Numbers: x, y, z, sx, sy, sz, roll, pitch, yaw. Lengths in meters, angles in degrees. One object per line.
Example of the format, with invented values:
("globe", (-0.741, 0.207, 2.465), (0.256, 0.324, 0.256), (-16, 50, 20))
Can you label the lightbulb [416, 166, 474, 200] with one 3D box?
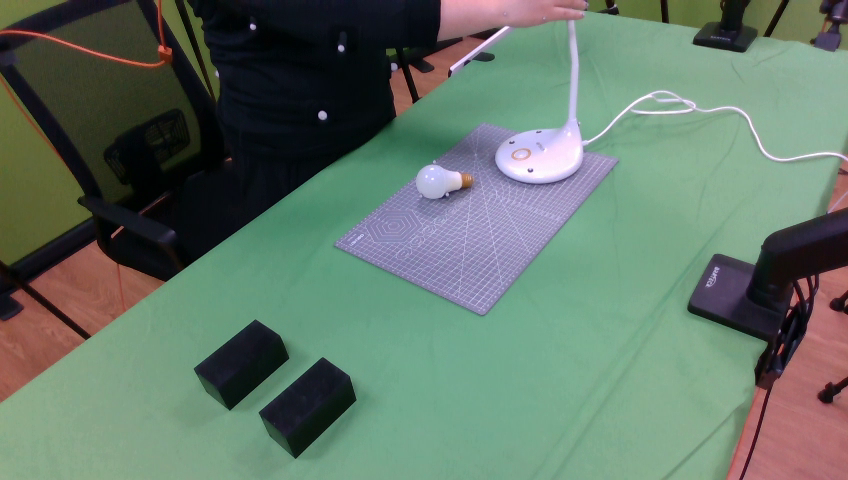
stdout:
("lightbulb", (0.038, -0.101, 1.059), (0.108, 0.059, 0.059), (-5, 37, -22))

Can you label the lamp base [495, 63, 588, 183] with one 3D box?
("lamp base", (0.215, -0.217, 1.067), (0.180, 0.181, 0.159), (-19, 42, -18))
